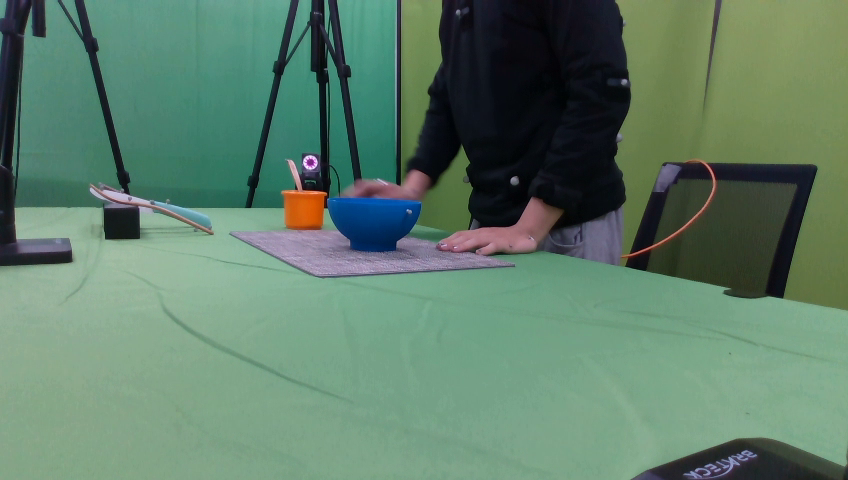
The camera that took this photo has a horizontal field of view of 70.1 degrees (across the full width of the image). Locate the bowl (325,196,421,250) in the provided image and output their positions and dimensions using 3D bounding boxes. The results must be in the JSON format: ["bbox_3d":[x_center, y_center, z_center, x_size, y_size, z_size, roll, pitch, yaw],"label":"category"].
[{"bbox_3d":[-0.081,-0.027,0.957,0.151,0.077,0.151,2,7,0],"label":"bowl"}]

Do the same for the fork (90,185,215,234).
[{"bbox_3d":[-0.452,-0.049,1.018,0.208,0.018,0.028,21,-6,-33],"label":"fork"}]

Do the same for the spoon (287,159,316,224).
[{"bbox_3d":[-0.261,-0.104,1.264,0.042,0.193,0.021,-1,-37,-28],"label":"spoon"}]

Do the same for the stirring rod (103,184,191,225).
[{"bbox_3d":[-0.507,-0.063,1.129,0.177,0.006,0.014,27,1,-31],"label":"stirring rod"}]

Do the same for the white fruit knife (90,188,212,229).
[{"bbox_3d":[-0.478,-0.058,1.073,0.208,0.027,0.016,17,-4,-30],"label":"white fruit knife"}]
